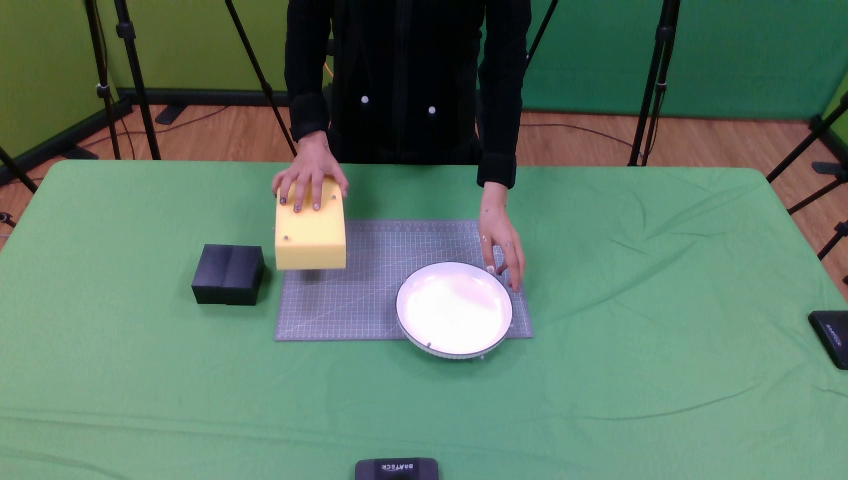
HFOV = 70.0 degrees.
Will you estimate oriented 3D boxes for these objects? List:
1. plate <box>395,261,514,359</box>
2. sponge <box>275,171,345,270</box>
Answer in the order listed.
[{"bbox_3d":[0.052,0.125,1.066,0.209,0.038,0.208,2,46,-2],"label":"plate"},{"bbox_3d":[-0.208,-0.040,1.104,0.118,0.061,0.205,-2,44,-10],"label":"sponge"}]
